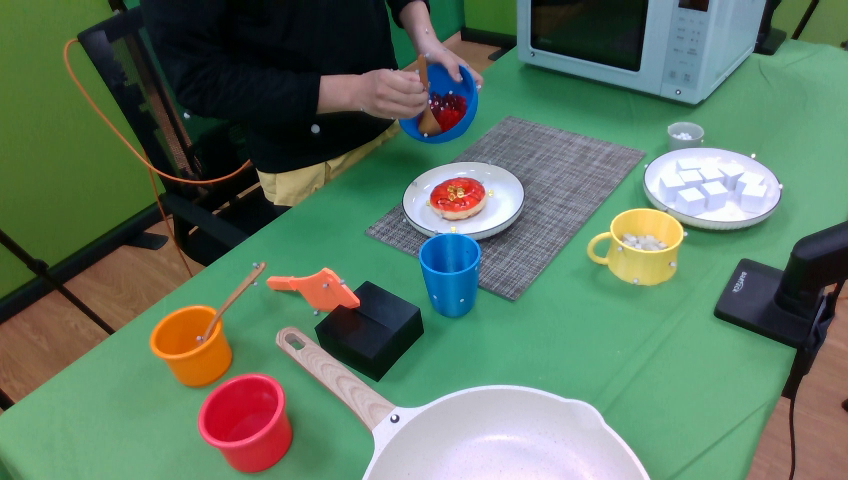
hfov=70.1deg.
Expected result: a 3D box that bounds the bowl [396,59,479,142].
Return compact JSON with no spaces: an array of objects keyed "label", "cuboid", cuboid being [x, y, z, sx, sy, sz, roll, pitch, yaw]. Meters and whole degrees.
[{"label":"bowl","cuboid":[0.036,-0.230,1.061,0.150,0.077,0.151,-10,66,24]}]

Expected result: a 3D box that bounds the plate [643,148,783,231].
[{"label":"plate","cuboid":[0.464,-0.080,0.986,0.207,0.039,0.206,-4,40,4]}]

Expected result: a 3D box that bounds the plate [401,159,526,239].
[{"label":"plate","cuboid":[0.067,-0.065,1.019,0.209,0.038,0.208,-4,40,4]}]

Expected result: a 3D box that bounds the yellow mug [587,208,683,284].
[{"label":"yellow mug","cuboid":[0.305,0.009,0.884,0.131,0.064,0.099,-4,41,5]}]

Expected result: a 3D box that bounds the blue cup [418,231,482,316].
[{"label":"blue cup","cuboid":[0.040,0.053,0.843,0.092,0.100,0.092,-4,43,4]}]

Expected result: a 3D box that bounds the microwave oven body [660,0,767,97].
[{"label":"microwave oven body","cuboid":[0.473,-0.516,1.313,0.438,0.261,0.327,26,51,34]}]

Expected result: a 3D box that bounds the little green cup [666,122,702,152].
[{"label":"little green cup","cuboid":[0.471,-0.184,1.102,0.061,0.039,0.061,-5,41,5]}]

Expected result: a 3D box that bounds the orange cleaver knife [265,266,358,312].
[{"label":"orange cleaver knife","cuboid":[-0.164,0.073,0.864,0.210,0.077,0.012,-6,31,50]}]

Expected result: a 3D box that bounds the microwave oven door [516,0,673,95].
[{"label":"microwave oven door","cuboid":[0.344,-0.458,1.256,0.353,0.245,0.039,26,51,33]}]

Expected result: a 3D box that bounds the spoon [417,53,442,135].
[{"label":"spoon","cuboid":[0.003,-0.227,0.965,0.041,0.194,0.021,2,59,7]}]

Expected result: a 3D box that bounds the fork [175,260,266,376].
[{"label":"fork","cuboid":[-0.268,0.103,0.792,0.207,0.019,0.028,-51,41,16]}]

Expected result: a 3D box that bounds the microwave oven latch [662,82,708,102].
[{"label":"microwave oven latch","cuboid":[0.518,-0.298,1.203,0.078,0.029,0.030,29,53,35]}]

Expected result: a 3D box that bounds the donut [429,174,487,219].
[{"label":"donut","cuboid":[0.057,-0.075,1.015,0.099,0.048,0.098,-5,38,5]}]

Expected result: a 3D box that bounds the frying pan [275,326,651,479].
[{"label":"frying pan","cuboid":[0.003,0.229,0.641,0.484,0.103,0.308,34,54,28]}]
